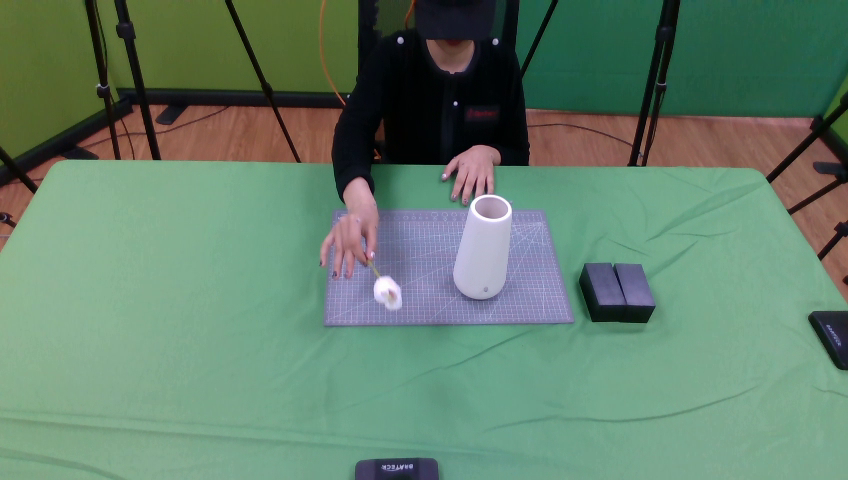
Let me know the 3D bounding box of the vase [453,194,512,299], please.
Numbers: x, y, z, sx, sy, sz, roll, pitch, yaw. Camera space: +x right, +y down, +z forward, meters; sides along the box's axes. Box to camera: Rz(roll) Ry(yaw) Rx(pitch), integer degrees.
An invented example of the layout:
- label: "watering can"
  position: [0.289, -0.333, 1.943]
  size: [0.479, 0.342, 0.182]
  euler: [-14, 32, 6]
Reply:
- label: "vase"
  position: [0.107, 0.016, 1.065]
  size: [0.098, 0.201, 0.097]
  euler: [3, 47, -3]

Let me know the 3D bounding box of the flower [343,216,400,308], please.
- label: "flower"
  position: [-0.105, 0.021, 1.052]
  size: [0.044, 0.038, 0.359]
  euler: [27, 11, -26]
